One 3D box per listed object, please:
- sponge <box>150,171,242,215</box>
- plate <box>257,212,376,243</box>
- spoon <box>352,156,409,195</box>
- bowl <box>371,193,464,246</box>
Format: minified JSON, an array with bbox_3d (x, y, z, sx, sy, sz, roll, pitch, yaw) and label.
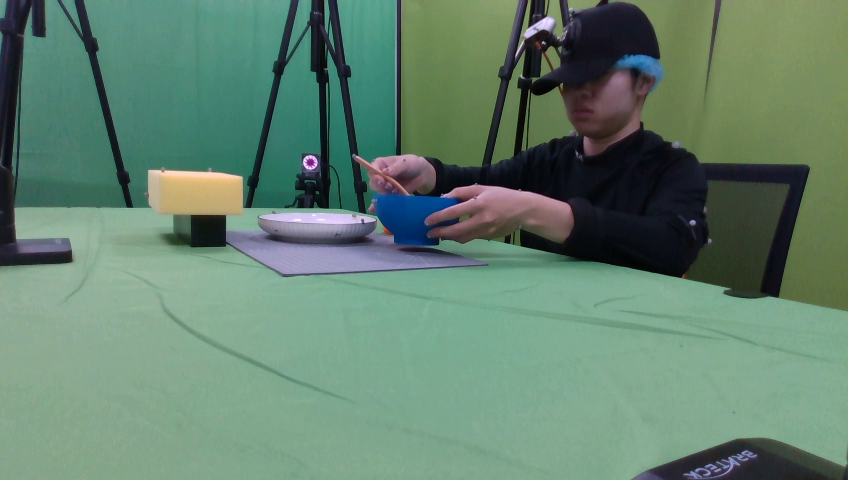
[{"bbox_3d":[-0.379,-0.079,0.994,0.119,0.061,0.206,-1,8,-29],"label":"sponge"},{"bbox_3d":[-0.189,-0.023,1.072,0.209,0.038,0.209,3,7,0],"label":"plate"},{"bbox_3d":[-0.042,-0.083,0.990,0.193,0.021,0.042,41,11,12],"label":"spoon"},{"bbox_3d":[-0.012,-0.032,0.971,0.151,0.077,0.151,3,3,0],"label":"bowl"}]
